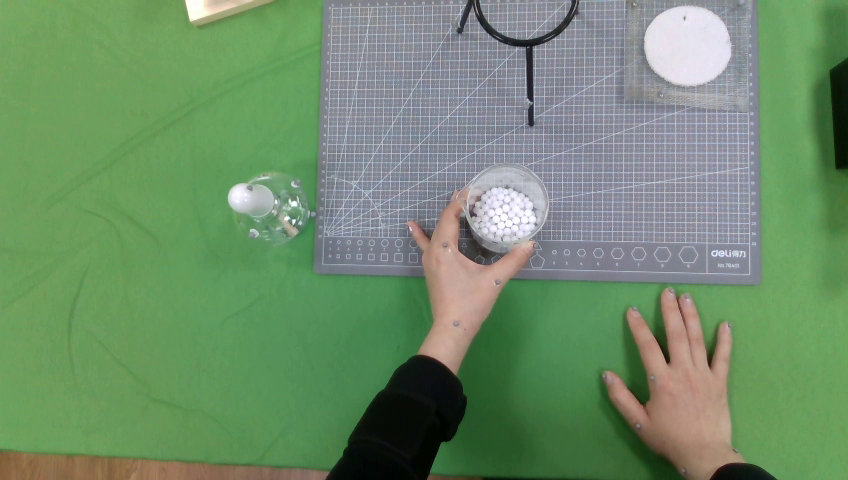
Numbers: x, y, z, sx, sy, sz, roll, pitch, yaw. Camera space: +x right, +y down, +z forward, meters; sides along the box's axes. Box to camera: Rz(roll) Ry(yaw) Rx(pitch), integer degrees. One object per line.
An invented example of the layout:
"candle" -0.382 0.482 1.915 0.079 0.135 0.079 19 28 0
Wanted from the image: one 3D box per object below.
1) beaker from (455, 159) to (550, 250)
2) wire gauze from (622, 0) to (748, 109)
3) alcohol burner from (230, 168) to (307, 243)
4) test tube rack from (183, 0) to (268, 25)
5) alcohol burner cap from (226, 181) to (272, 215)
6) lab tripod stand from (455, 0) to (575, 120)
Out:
"beaker" 0.072 -0.029 0.576 0.084 0.100 0.074 8 84 6
"wire gauze" 0.264 -0.198 0.612 0.125 0.011 0.121 5 86 5
"alcohol burner" -0.161 -0.037 0.602 0.078 0.119 0.077 -1 83 6
"test tube rack" -0.159 -0.311 0.636 0.242 0.085 0.066 -16 84 5
"alcohol burner cap" -0.166 -0.041 0.566 0.034 0.048 0.034 0 89 6
"lab tripod stand" 0.093 -0.201 0.570 0.148 0.132 0.148 0 86 5
